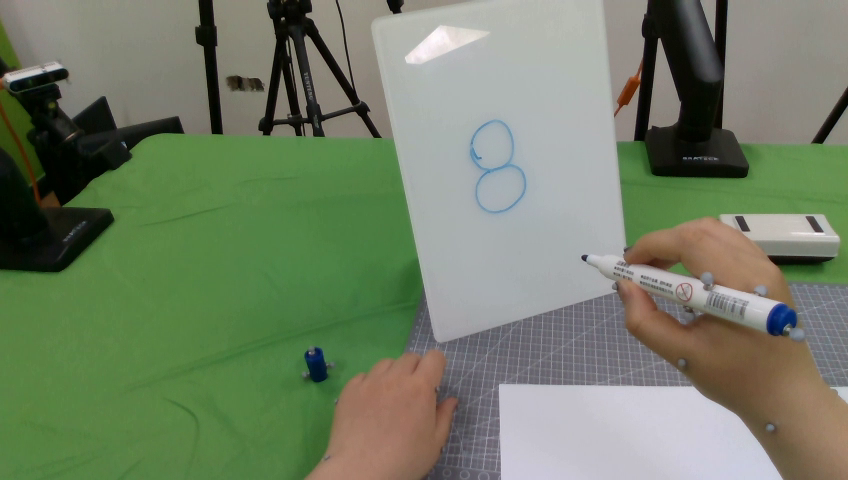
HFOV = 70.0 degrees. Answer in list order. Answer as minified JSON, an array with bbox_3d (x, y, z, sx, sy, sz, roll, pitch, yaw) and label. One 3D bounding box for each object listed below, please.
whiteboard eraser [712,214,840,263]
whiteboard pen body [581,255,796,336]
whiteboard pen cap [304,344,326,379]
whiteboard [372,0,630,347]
[{"bbox_3d":[0.378,-0.002,0.655,0.112,0.042,0.055,2,39,8],"label":"whiteboard eraser"},{"bbox_3d":[0.132,0.024,0.330,0.017,0.017,0.139,-21,19,-21],"label":"whiteboard pen body"},{"bbox_3d":[-0.101,0.114,0.563,0.018,0.033,0.018,-2,38,2],"label":"whiteboard pen cap"},{"bbox_3d":[0.070,-0.081,0.629,0.217,0.307,0.143,-14,17,-11],"label":"whiteboard"}]
